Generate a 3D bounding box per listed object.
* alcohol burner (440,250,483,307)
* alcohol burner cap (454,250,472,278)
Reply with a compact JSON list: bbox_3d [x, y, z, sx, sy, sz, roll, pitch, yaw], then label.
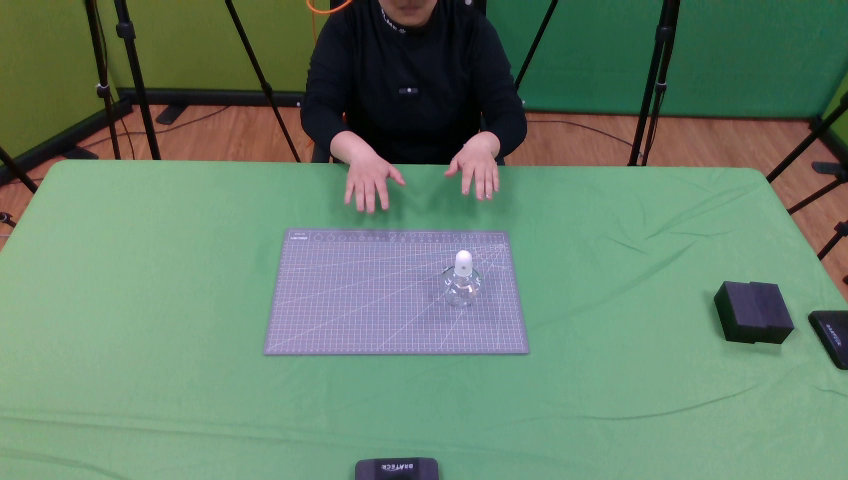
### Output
[{"bbox_3d":[0.068,0.064,1.076,0.078,0.120,0.077,1,45,-1],"label":"alcohol burner"},{"bbox_3d":[0.068,0.039,1.049,0.034,0.048,0.033,-2,45,2],"label":"alcohol burner cap"}]
